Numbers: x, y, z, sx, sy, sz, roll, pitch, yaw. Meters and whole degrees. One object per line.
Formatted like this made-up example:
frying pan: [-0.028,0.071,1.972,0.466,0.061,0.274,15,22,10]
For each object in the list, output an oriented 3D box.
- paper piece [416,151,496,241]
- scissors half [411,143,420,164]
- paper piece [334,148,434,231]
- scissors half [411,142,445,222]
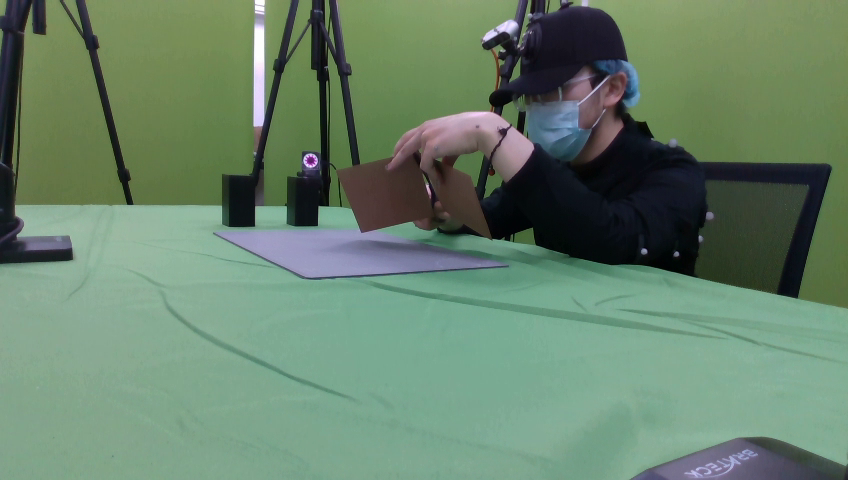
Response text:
paper piece: [0.050,-0.070,0.952,0.137,0.136,0.008,22,54,40]
scissors half: [0.021,-0.109,1.021,0.013,0.040,0.176,19,-17,39]
paper piece: [-0.063,-0.082,1.010,0.136,0.136,0.004,-15,38,5]
scissors half: [0.009,-0.094,1.014,0.012,0.176,0.040,25,59,41]
